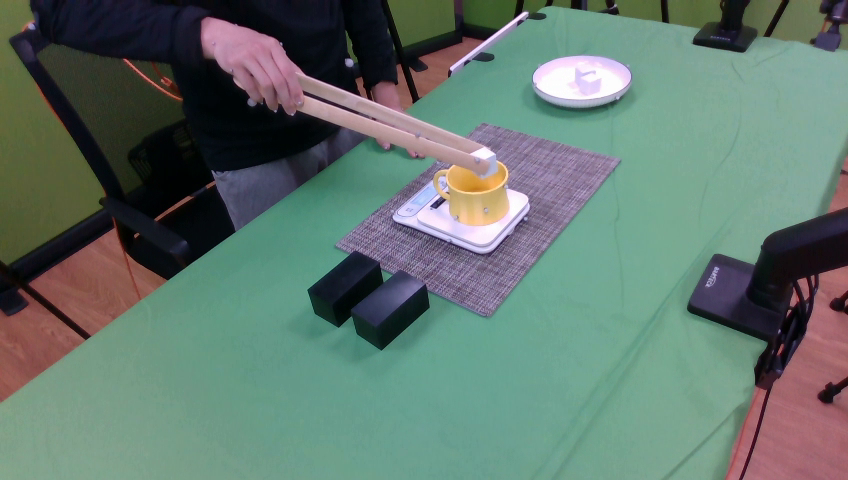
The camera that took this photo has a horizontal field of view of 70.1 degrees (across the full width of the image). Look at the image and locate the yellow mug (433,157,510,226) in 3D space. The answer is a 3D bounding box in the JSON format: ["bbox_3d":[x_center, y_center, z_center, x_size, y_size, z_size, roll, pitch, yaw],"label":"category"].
[{"bbox_3d":[0.072,-0.082,0.968,0.130,0.064,0.100,13,45,24],"label":"yellow mug"}]

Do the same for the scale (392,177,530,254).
[{"bbox_3d":[0.060,-0.050,1.006,0.199,0.032,0.149,22,48,30],"label":"scale"}]

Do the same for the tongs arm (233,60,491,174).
[{"bbox_3d":[-0.086,-0.175,0.876,0.386,0.026,0.050,16,40,-12],"label":"tongs arm"}]

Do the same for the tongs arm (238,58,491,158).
[{"bbox_3d":[-0.083,-0.192,0.897,0.389,0.028,0.028,18,43,-9],"label":"tongs arm"}]

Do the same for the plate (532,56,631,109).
[{"bbox_3d":[0.336,-0.335,1.301,0.207,0.039,0.206,-4,41,4],"label":"plate"}]
